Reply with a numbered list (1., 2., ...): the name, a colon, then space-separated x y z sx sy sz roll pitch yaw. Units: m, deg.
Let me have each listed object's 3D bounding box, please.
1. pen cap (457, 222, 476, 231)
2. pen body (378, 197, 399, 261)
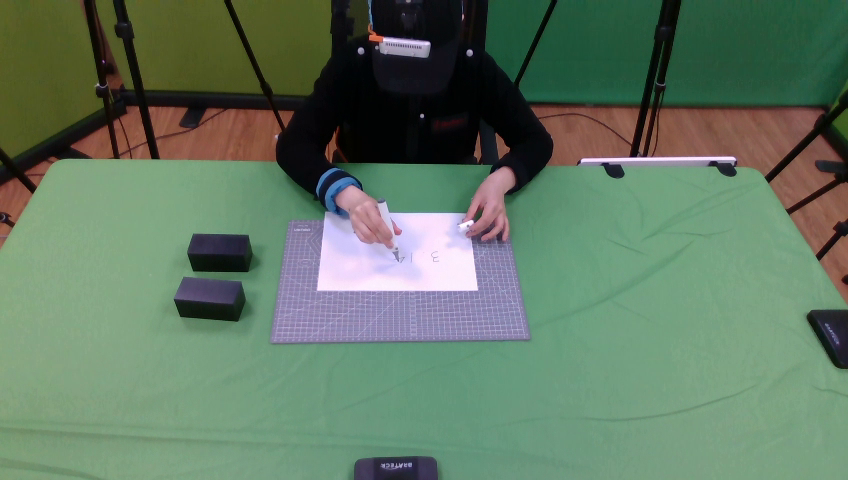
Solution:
1. pen cap: 0.084 -0.027 1.195 0.038 0.017 0.017 3 42 -32
2. pen body: -0.063 -0.016 1.116 0.017 0.145 0.017 -9 36 7
